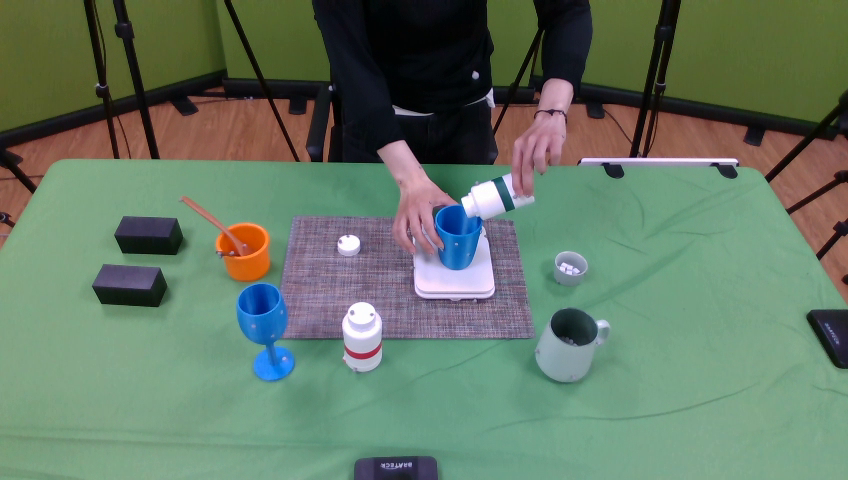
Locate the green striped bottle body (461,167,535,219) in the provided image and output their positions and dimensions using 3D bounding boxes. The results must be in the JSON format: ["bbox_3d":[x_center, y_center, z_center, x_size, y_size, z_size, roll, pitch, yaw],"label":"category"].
[{"bbox_3d":[0.126,-0.077,1.049,0.119,0.063,0.063,-20,47,6],"label":"green striped bottle body"}]

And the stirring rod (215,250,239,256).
[{"bbox_3d":[-0.339,0.024,1.059,0.014,0.176,0.006,17,86,-6],"label":"stirring rod"}]

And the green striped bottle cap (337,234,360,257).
[{"bbox_3d":[-0.147,0.010,1.175,0.044,0.020,0.044,3,48,-3],"label":"green striped bottle cap"}]

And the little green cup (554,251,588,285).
[{"bbox_3d":[0.277,0.055,1.151,0.061,0.039,0.061,1,47,-1],"label":"little green cup"}]

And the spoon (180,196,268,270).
[{"bbox_3d":[-0.360,-0.014,1.094,0.021,0.194,0.041,-28,26,31],"label":"spoon"}]

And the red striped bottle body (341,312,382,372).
[{"bbox_3d":[-0.100,0.154,0.972,0.063,0.120,0.062,2,46,-1],"label":"red striped bottle body"}]

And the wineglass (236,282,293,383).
[{"bbox_3d":[-0.243,0.143,0.934,0.074,0.173,0.073,2,46,-2],"label":"wineglass"}]

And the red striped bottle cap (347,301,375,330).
[{"bbox_3d":[-0.097,0.116,0.934,0.044,0.018,0.044,2,49,-2],"label":"red striped bottle cap"}]

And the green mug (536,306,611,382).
[{"bbox_3d":[0.250,0.167,0.996,0.125,0.105,0.092,-15,48,-18],"label":"green mug"}]

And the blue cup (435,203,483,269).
[{"bbox_3d":[0.060,-0.001,1.098,0.092,0.101,0.092,1,45,-1],"label":"blue cup"}]

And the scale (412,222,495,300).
[{"bbox_3d":[0.052,0.031,1.158,0.149,0.032,0.199,1,46,-4],"label":"scale"}]
